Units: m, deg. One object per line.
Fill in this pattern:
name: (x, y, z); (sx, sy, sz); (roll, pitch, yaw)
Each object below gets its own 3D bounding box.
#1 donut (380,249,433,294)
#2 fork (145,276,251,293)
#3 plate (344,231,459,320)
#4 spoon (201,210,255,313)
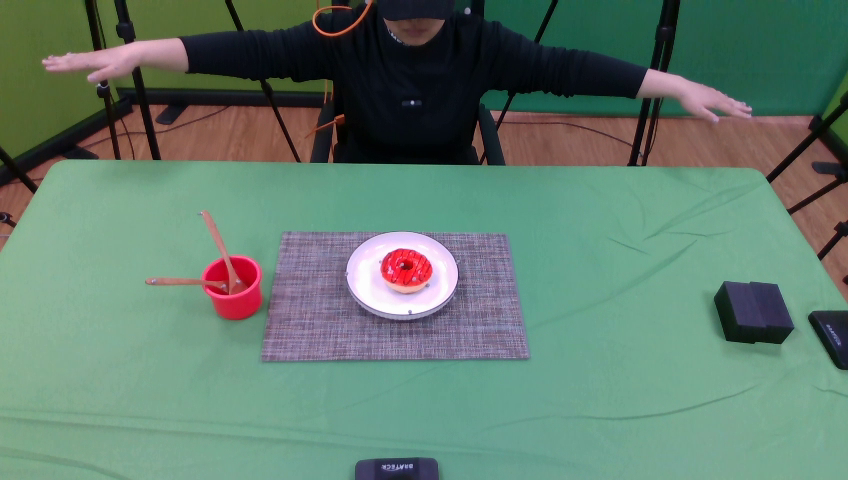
donut: (-0.032, 0.056, 1.111); (0.099, 0.048, 0.098); (4, 43, -3)
fork: (-0.368, 0.073, 1.006); (0.018, 0.208, 0.028); (-24, 72, 23)
plate: (-0.042, 0.067, 1.115); (0.209, 0.038, 0.208); (2, 46, -2)
spoon: (-0.343, 0.037, 1.052); (0.041, 0.021, 0.194); (-23, 96, -32)
